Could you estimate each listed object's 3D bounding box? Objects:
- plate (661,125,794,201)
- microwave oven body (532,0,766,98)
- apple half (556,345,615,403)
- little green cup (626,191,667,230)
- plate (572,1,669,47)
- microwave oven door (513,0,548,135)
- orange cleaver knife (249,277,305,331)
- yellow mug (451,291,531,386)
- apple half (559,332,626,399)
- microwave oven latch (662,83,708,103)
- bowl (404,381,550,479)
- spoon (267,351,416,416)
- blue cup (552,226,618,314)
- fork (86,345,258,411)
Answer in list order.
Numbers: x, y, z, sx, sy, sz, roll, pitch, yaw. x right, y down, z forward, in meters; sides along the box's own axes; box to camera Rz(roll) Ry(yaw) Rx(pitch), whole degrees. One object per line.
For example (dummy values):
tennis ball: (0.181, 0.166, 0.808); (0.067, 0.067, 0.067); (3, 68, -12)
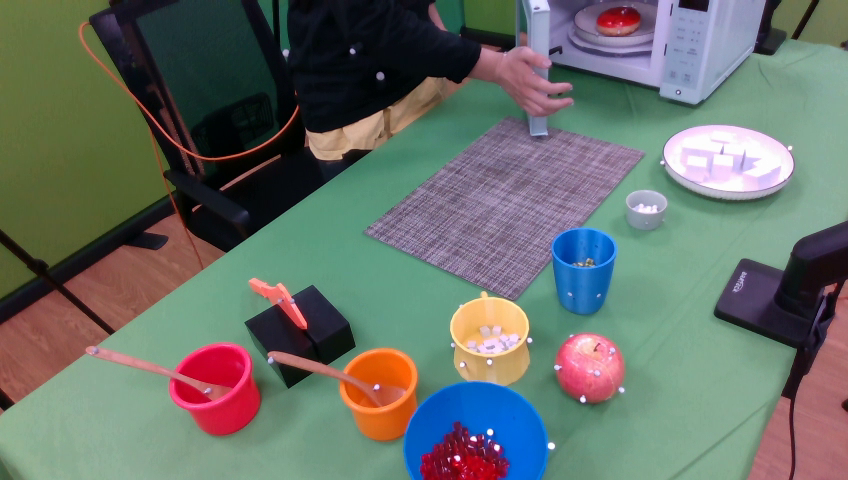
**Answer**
plate: (0.513, -0.128, 1.035); (0.207, 0.039, 0.206); (-4, 40, 4)
microwave oven body: (0.472, -0.513, 1.317); (0.438, 0.261, 0.327); (26, 51, 34)
apple half: (0.181, 0.166, 0.709); (0.080, 0.081, 0.033); (29, 50, 35)
little green cup: (0.352, -0.046, 0.963); (0.061, 0.039, 0.061); (-4, 40, 4)
plate: (0.441, -0.484, 1.366); (0.209, 0.038, 0.208); (-5, 41, 5)
microwave oven door: (0.214, -0.407, 1.224); (0.039, 0.245, 0.354); (-4, 40, 4)
orange cleaver knife: (-0.210, 0.088, 0.855); (0.012, 0.077, 0.210); (-28, 15, -25)
yellow mug: (0.085, 0.120, 0.786); (0.100, 0.064, 0.130); (-7, 39, 1)
apple half: (0.209, 0.147, 0.730); (0.080, 0.075, 0.053); (26, 48, 38)
microwave oven latch: (0.518, -0.296, 1.204); (0.078, 0.029, 0.030); (28, 53, 36)
bowl: (0.058, 0.235, 0.645); (0.151, 0.077, 0.150); (-4, 39, 4)
spoon: (-0.091, 0.162, 0.699); (0.021, 0.195, 0.041); (-45, 30, 27)
blue cup: (0.218, 0.047, 0.825); (0.092, 0.101, 0.092); (-6, 40, 5)
fork: (-0.298, 0.167, 0.728); (0.209, 0.018, 0.028); (29, 46, -23)
